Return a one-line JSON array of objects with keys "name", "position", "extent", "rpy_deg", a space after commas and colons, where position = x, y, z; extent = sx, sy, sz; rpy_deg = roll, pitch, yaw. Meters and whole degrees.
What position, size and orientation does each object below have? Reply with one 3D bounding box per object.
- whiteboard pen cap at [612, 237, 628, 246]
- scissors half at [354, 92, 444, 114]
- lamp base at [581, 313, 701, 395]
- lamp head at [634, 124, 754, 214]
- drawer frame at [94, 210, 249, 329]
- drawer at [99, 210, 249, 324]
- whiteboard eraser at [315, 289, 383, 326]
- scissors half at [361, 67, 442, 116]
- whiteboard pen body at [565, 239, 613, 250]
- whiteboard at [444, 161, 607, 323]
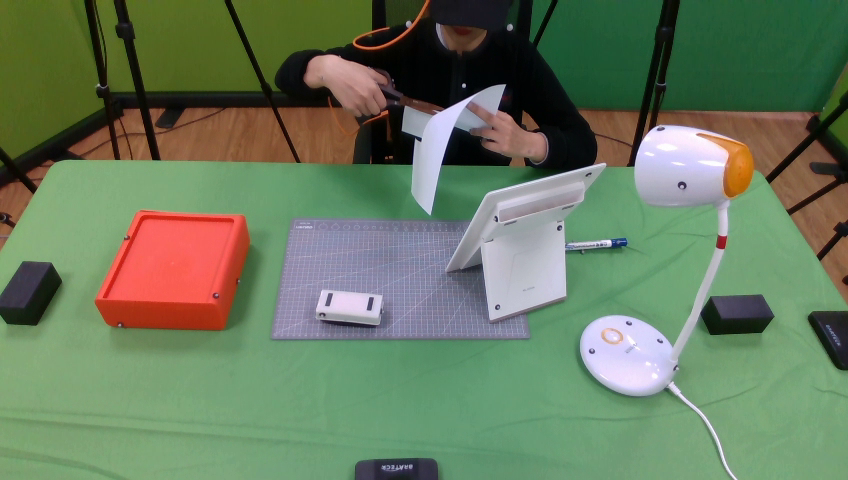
[{"name": "whiteboard pen cap", "position": [0.390, 0.004, 1.215], "extent": [0.033, 0.018, 0.018], "rpy_deg": [-7, 47, -2]}, {"name": "scissors half", "position": [-0.048, -0.264, 1.183], "extent": [0.175, 0.040, 0.013], "rpy_deg": [2, 22, -7]}, {"name": "lamp base", "position": [0.361, 0.144, 0.972], "extent": [0.178, 0.181, 0.160], "rpy_deg": [34, 53, 23]}, {"name": "lamp head", "position": [0.351, -0.089, 0.775], "extent": [0.112, 0.113, 0.122], "rpy_deg": [-30, 30, -28]}, {"name": "drawer frame", "position": [-0.434, 0.048, 1.076], "extent": [0.202, 0.083, 0.212], "rpy_deg": [2, 47, -3]}, {"name": "drawer", "position": [-0.435, 0.044, 1.081], "extent": [0.194, 0.073, 0.210], "rpy_deg": [3, 47, -2]}, {"name": "whiteboard eraser", "position": [-0.130, 0.119, 1.054], "extent": [0.113, 0.042, 0.055], "rpy_deg": [6, 47, 1]}, {"name": "scissors half", "position": [-0.041, -0.284, 1.176], "extent": [0.176, 0.040, 0.012], "rpy_deg": [29, 12, -16]}, {"name": "whiteboard pen body", "position": [0.331, 0.008, 1.211], "extent": [0.141, 0.017, 0.017], "rpy_deg": [-5, 47, -4]}, {"name": "whiteboard", "position": [0.186, 0.025, 1.029], "extent": [0.217, 0.306, 0.143], "rpy_deg": [-14, 68, -18]}]
